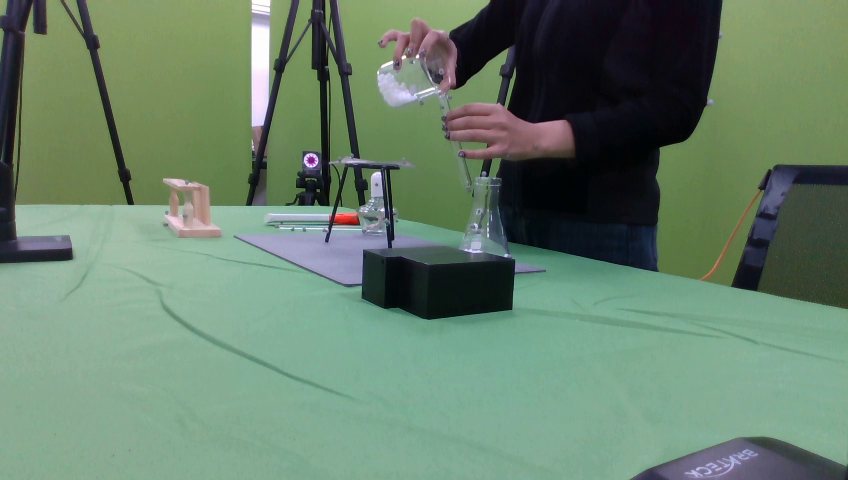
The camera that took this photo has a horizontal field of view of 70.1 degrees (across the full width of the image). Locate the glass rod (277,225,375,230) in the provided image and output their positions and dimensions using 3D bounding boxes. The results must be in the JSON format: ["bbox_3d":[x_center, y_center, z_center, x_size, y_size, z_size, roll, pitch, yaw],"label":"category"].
[{"bbox_3d":[-0.187,-0.024,1.178,0.201,0.008,0.008,1,6,-31],"label":"glass rod"}]

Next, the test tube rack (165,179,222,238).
[{"bbox_3d":[-0.423,-0.062,1.098,0.067,0.085,0.241,-2,9,-28],"label":"test tube rack"}]

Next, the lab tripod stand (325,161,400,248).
[{"bbox_3d":[-0.083,-0.060,0.977,0.148,0.131,0.148,4,8,0],"label":"lab tripod stand"}]

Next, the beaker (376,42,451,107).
[{"bbox_3d":[-0.018,-0.254,0.949,0.100,0.084,0.074,-12,-1,33],"label":"beaker"}]

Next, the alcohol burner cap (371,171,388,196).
[{"bbox_3d":[-0.085,-0.104,1.120,0.034,0.048,0.034,-5,8,1],"label":"alcohol burner cap"}]

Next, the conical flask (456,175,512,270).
[{"bbox_3d":[0.082,-0.025,0.801,0.075,0.122,0.075,2,7,0],"label":"conical flask"}]

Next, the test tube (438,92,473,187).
[{"bbox_3d":[0.047,-0.153,0.917,0.017,0.150,0.017,-15,-6,-1],"label":"test tube"}]

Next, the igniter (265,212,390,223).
[{"bbox_3d":[-0.196,-0.048,1.285,0.278,0.025,0.057,-2,-2,-30],"label":"igniter"}]

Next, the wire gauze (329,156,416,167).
[{"bbox_3d":[-0.079,-0.126,0.972,0.121,0.011,0.125,4,8,5],"label":"wire gauze"}]

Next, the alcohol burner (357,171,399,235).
[{"bbox_3d":[-0.085,-0.069,1.125,0.078,0.119,0.078,3,10,0],"label":"alcohol burner"}]
